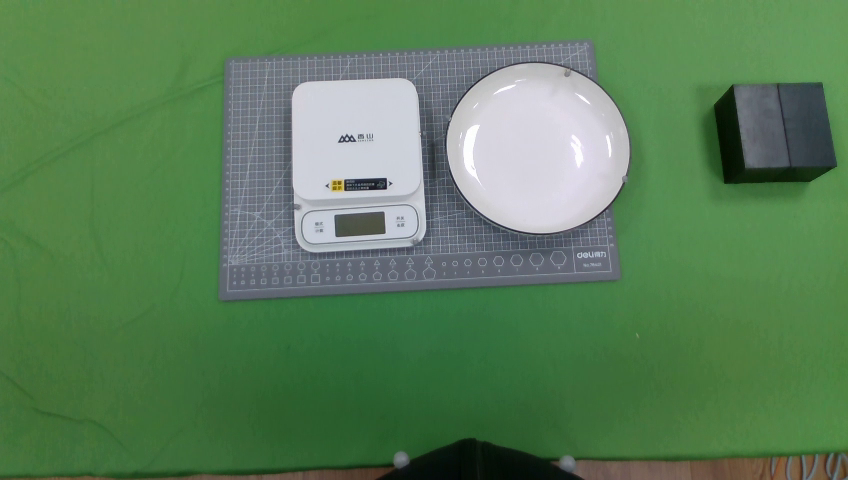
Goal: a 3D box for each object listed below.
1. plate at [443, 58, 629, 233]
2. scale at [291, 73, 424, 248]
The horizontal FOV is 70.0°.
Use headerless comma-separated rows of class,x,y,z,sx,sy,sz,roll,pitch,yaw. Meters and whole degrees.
plate,0.126,-0.106,0.692,0.209,0.038,0.208,0,77,0
scale,-0.078,-0.094,0.695,0.149,0.032,0.200,-3,78,0
